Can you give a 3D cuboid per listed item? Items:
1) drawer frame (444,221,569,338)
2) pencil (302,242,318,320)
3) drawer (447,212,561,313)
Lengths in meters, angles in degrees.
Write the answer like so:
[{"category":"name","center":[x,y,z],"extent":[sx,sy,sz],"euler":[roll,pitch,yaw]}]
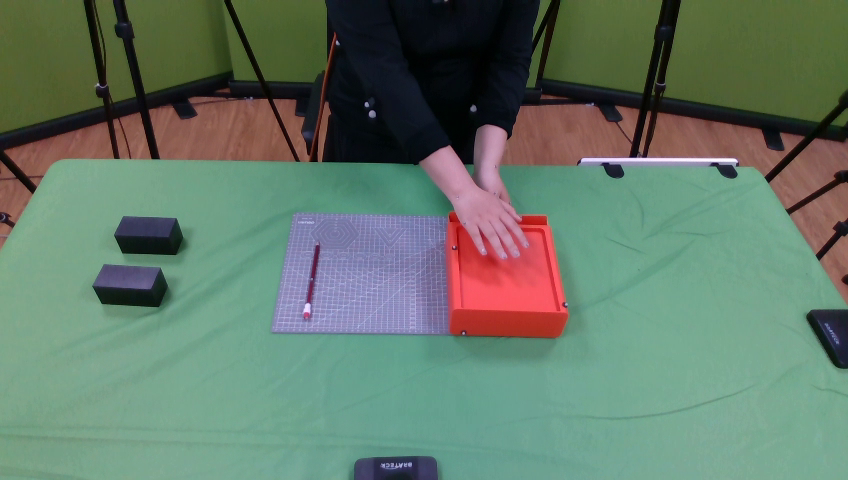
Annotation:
[{"category":"drawer frame","center":[0.142,0.067,1.098],"extent":[0.202,0.083,0.212],"euler":[2,46,-4]},{"category":"pencil","center":[-0.209,0.070,1.119],"extent":[0.012,0.012,0.193],"euler":[2,44,-2]},{"category":"drawer","center":[0.141,0.046,1.121],"extent":[0.194,0.073,0.210],"euler":[3,47,-3]}]
